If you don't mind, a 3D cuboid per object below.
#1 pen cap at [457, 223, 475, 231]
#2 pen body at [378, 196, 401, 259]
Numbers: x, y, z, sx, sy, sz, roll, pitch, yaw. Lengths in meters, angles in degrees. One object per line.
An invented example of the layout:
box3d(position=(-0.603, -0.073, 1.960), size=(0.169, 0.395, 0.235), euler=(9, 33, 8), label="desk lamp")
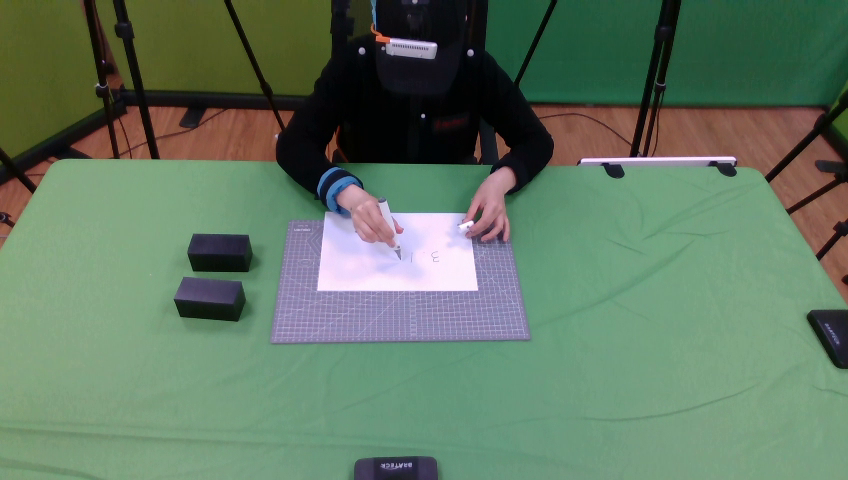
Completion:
box3d(position=(0.083, -0.025, 1.197), size=(0.038, 0.017, 0.017), euler=(1, 42, -34), label="pen cap")
box3d(position=(-0.061, -0.020, 1.117), size=(0.017, 0.145, 0.017), euler=(-10, 37, 8), label="pen body")
